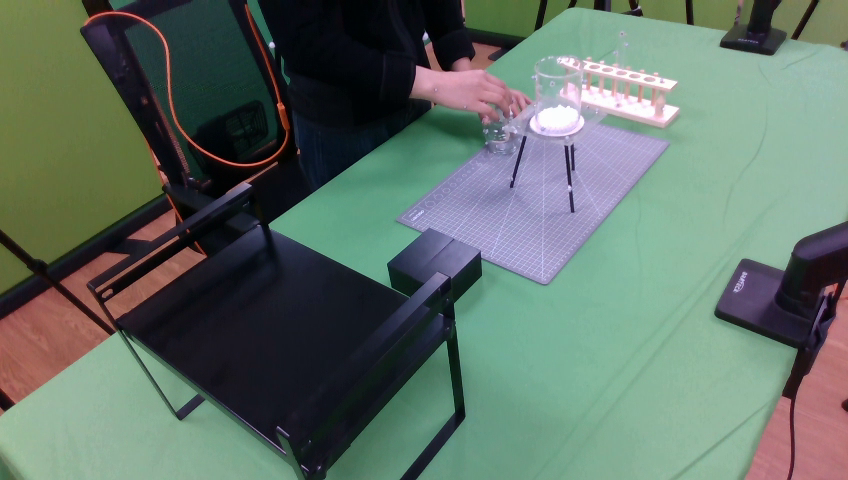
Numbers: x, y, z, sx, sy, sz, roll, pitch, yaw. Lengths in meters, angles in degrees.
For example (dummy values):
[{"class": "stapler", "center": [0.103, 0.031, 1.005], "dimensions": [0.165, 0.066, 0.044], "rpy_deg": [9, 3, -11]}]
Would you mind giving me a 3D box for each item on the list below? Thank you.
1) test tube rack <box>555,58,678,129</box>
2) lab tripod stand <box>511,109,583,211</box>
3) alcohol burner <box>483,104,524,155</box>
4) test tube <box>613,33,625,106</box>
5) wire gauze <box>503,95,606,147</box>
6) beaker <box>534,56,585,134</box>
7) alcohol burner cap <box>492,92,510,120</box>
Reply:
[{"class": "test tube rack", "center": [0.389, -0.307, 1.229], "dimensions": [0.240, 0.085, 0.067], "rpy_deg": [25, 51, 33]}, {"class": "lab tripod stand", "center": [0.220, -0.138, 1.014], "dimensions": [0.148, 0.132, 0.147], "rpy_deg": [-3, 41, 3]}, {"class": "alcohol burner", "center": [0.149, -0.222, 1.140], "dimensions": [0.078, 0.119, 0.077], "rpy_deg": [-5, 42, 5]}, {"class": "test tube", "center": [0.380, -0.330, 1.180], "dimensions": [0.017, 0.151, 0.017], "rpy_deg": [-7, 42, 6]}, {"class": "wire gauze", "center": [0.212, -0.191, 0.976], "dimensions": [0.120, 0.011, 0.125], "rpy_deg": [24, 52, 32]}, {"class": "beaker", "center": [0.209, -0.226, 0.942], "dimensions": [0.074, 0.101, 0.083], "rpy_deg": [-2, 41, 7]}, {"class": "alcohol burner cap", "center": [0.141, -0.250, 1.116], "dimensions": [0.034, 0.048, 0.033], "rpy_deg": [-6, 36, 5]}]
